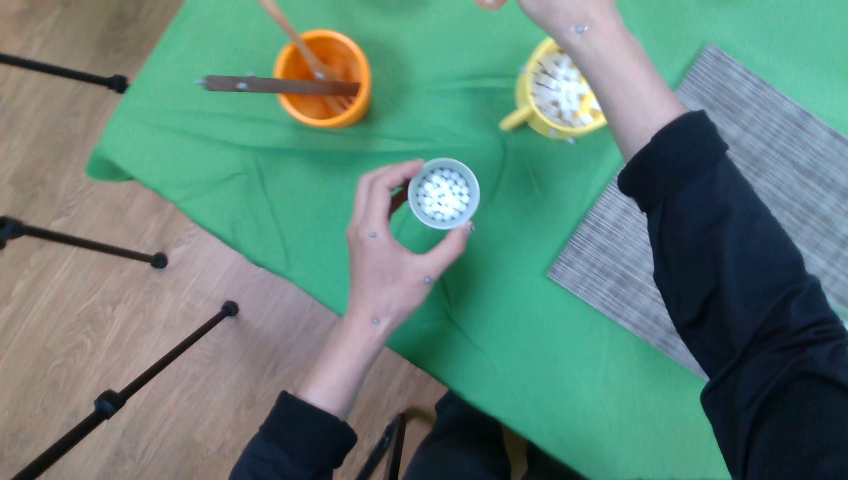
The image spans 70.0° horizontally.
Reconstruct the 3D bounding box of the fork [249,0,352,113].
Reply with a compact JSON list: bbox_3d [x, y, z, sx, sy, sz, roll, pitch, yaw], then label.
[{"bbox_3d":[-0.135,-0.198,0.575,0.028,0.018,0.210,-42,136,1],"label":"fork"}]

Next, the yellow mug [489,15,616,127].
[{"bbox_3d":[0.124,-0.161,0.619,0.131,0.064,0.100,-32,94,4],"label":"yellow mug"}]

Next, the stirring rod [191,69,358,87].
[{"bbox_3d":[-0.137,-0.156,0.584,0.177,0.006,0.014,-12,97,-41],"label":"stirring rod"}]

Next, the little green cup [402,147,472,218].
[{"bbox_3d":[0.011,-0.049,0.533,0.061,0.038,0.061,0,93,1],"label":"little green cup"}]

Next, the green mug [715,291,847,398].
[{"bbox_3d":[0.374,0.097,0.618,0.125,0.105,0.092,-40,92,3],"label":"green mug"}]

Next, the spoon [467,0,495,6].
[{"bbox_3d":[0.050,-0.243,0.434,0.041,0.195,0.021,28,72,8],"label":"spoon"}]
